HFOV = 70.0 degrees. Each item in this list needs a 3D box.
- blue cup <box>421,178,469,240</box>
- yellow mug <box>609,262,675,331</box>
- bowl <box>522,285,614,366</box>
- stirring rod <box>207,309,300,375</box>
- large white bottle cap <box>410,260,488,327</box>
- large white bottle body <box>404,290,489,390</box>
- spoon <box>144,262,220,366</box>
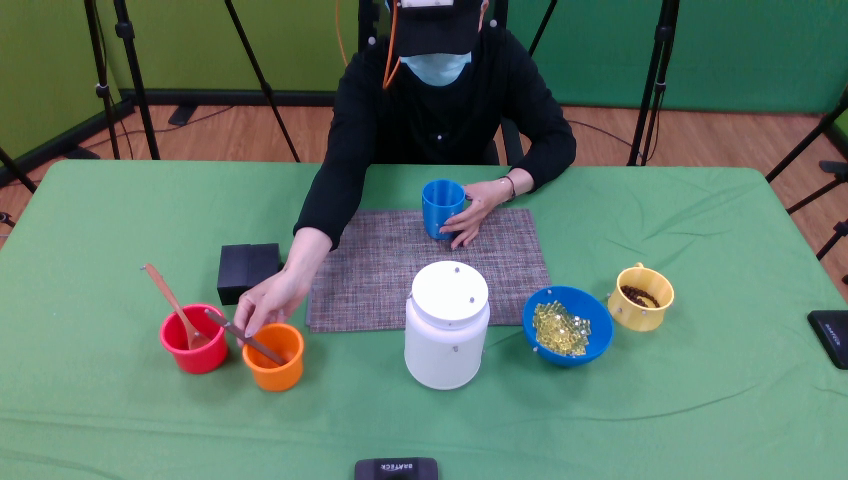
[{"bbox_3d":[0.035,-0.055,1.192,0.093,0.101,0.092,2,45,-2],"label":"blue cup"},{"bbox_3d":[0.393,0.094,1.103,0.100,0.064,0.130,7,45,3],"label":"yellow mug"},{"bbox_3d":[0.235,0.158,1.022,0.151,0.077,0.150,2,46,-2],"label":"bowl"},{"bbox_3d":[-0.262,0.161,0.942,0.177,0.006,0.014,41,32,-24],"label":"stirring rod"},{"bbox_3d":[0.037,0.077,0.893,0.115,0.018,0.114,2,47,-2],"label":"large white bottle cap"},{"bbox_3d":[0.033,0.136,0.955,0.131,0.185,0.130,2,46,-2],"label":"large white bottle body"},{"bbox_3d":[-0.389,0.118,0.971,0.041,0.021,0.194,-34,101,-33],"label":"spoon"}]
